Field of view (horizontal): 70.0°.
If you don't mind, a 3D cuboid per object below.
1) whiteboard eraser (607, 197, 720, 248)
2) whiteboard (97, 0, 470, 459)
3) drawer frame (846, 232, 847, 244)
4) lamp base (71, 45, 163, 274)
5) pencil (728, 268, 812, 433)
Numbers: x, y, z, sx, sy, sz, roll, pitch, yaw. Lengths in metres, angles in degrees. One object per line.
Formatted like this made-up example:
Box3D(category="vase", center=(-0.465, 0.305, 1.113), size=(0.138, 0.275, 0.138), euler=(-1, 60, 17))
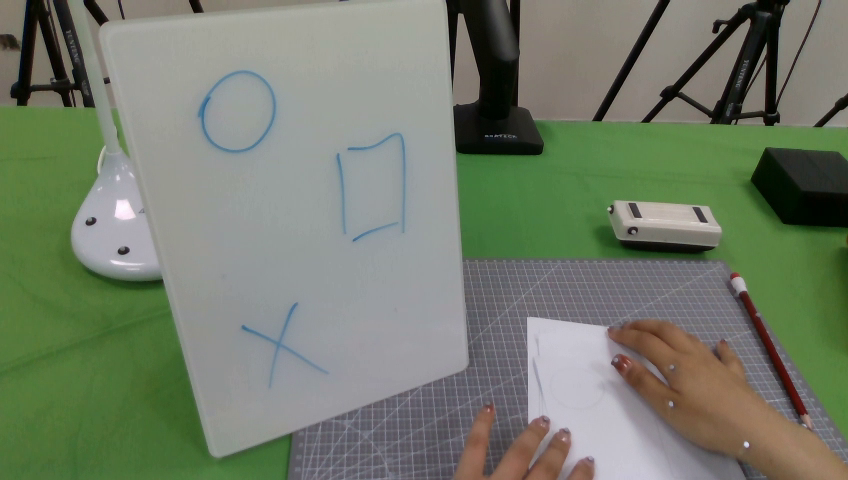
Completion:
Box3D(category="whiteboard eraser", center=(0.269, -0.019, 0.685), size=(0.113, 0.042, 0.055), euler=(5, 40, -2))
Box3D(category="whiteboard", center=(-0.097, -0.026, 0.484), size=(0.218, 0.307, 0.142), euler=(-14, 24, -21))
Box3D(category="drawer frame", center=(0.551, 0.057, 0.594), size=(0.201, 0.083, 0.212), euler=(15, 40, 13))
Box3D(category="lamp base", center=(-0.281, -0.085, 0.586), size=(0.178, 0.182, 0.160), euler=(27, 44, 27))
Box3D(category="pencil", center=(0.324, 0.096, 0.572), size=(0.012, 0.012, 0.192), euler=(4, 42, -1))
